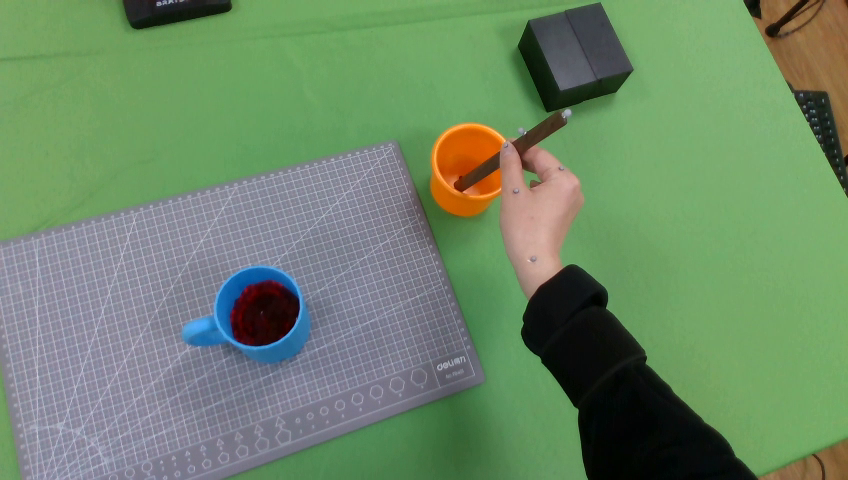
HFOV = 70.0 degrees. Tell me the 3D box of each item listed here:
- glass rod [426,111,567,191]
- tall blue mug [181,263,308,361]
[{"bbox_3d":[0.060,-0.079,0.573,0.008,0.199,0.008,11,70,-32],"label":"glass rod"},{"bbox_3d":[-0.164,0.081,0.579,0.107,0.108,0.077,-41,83,-17],"label":"tall blue mug"}]
